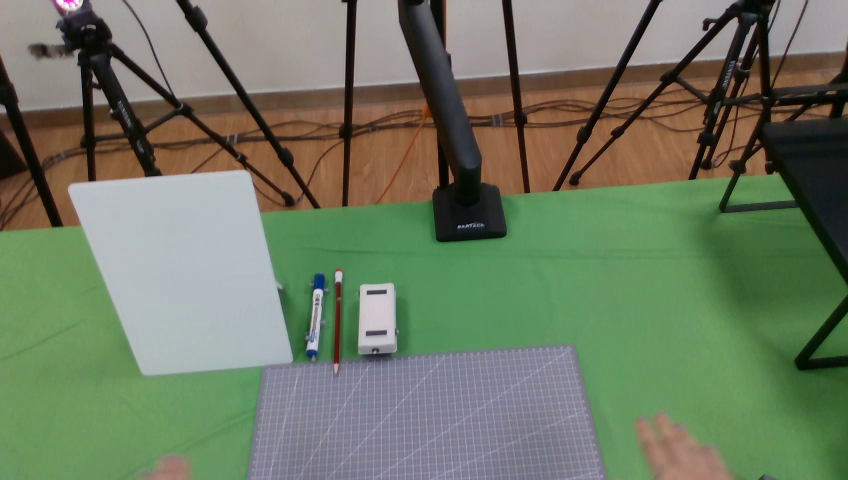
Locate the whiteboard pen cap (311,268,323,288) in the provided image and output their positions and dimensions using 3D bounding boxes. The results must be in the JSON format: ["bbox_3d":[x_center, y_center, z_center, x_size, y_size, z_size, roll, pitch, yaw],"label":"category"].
[{"bbox_3d":[-0.168,0.062,0.957,0.018,0.018,0.033,-5,49,-1],"label":"whiteboard pen cap"}]

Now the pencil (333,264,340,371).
[{"bbox_3d":[-0.132,0.113,0.918,0.012,0.012,0.192,-6,50,-2],"label":"pencil"}]

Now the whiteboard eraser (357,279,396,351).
[{"bbox_3d":[-0.072,0.111,0.897,0.055,0.042,0.111,-5,50,0],"label":"whiteboard eraser"}]

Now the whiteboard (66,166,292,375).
[{"bbox_3d":[-0.309,0.019,0.853,0.217,0.308,0.142,-4,31,0],"label":"whiteboard"}]

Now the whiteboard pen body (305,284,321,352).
[{"bbox_3d":[-0.167,0.107,0.920,0.017,0.017,0.139,-3,50,0],"label":"whiteboard pen body"}]
